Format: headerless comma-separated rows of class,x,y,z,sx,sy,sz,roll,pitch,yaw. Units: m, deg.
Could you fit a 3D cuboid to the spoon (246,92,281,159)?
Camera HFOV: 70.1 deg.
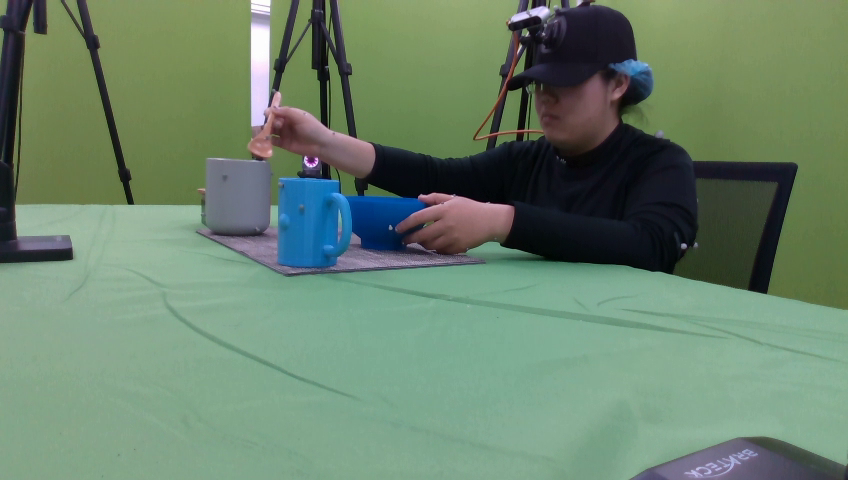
spoon,-0.274,-0.205,1.066,0.042,0.193,0.021,21,-43,-17

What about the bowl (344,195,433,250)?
bowl,-0.062,-0.027,0.955,0.151,0.077,0.151,3,7,0

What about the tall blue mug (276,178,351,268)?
tall blue mug,-0.133,-0.022,0.766,0.107,0.108,0.078,4,6,12

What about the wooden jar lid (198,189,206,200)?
wooden jar lid,-0.382,-0.088,1.175,0.108,0.020,0.108,3,8,0

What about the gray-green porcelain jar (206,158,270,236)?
gray-green porcelain jar,-0.316,-0.074,1.031,0.106,0.126,0.106,3,7,0
